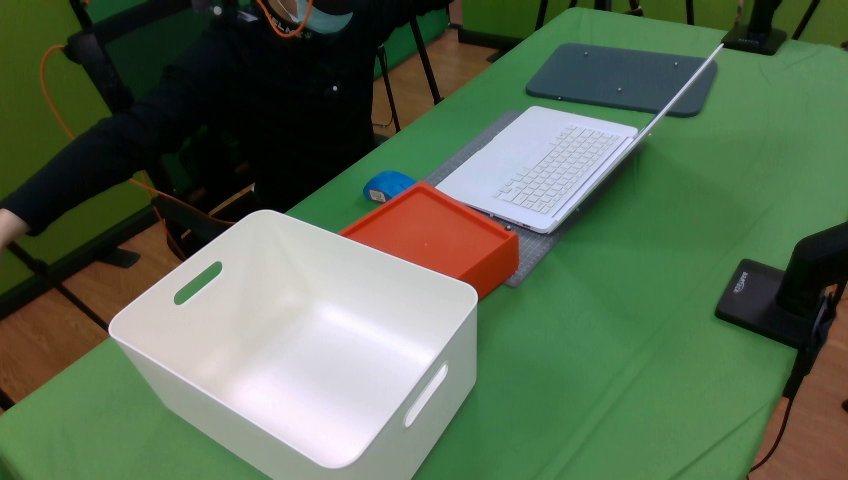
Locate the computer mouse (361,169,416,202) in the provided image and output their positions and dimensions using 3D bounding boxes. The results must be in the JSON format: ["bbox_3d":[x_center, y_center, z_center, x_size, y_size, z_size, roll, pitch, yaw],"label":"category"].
[{"bbox_3d":[-0.053,-0.093,1.073,0.116,0.041,0.063,22,46,29],"label":"computer mouse"}]

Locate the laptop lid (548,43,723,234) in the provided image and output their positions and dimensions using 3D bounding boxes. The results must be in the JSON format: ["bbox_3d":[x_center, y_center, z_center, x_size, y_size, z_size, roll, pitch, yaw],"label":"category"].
[{"bbox_3d":[0.336,-0.160,0.956,0.013,0.241,0.358,43,54,8],"label":"laptop lid"}]

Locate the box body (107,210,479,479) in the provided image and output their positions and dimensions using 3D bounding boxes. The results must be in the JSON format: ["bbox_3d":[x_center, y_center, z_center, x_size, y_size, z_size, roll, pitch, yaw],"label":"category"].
[{"bbox_3d":[-0.140,0.136,0.725,0.361,0.161,0.254,19,47,28],"label":"box body"}]

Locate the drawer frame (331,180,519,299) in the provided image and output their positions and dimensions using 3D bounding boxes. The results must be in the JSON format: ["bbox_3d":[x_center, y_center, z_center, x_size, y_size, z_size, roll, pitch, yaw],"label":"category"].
[{"bbox_3d":[-0.003,0.020,0.901,0.202,0.083,0.211,-35,48,-28],"label":"drawer frame"}]

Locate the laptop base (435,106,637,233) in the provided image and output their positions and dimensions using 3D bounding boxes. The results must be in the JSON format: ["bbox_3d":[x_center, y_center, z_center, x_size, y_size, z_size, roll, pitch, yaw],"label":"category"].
[{"bbox_3d":[0.210,-0.142,1.111,0.233,0.023,0.355,21,48,33],"label":"laptop base"}]

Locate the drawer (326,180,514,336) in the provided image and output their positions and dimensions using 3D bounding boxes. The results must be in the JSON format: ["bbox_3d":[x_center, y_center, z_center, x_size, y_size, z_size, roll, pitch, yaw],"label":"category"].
[{"bbox_3d":[-0.004,0.019,0.902,0.195,0.073,0.210,-34,48,-27],"label":"drawer"}]

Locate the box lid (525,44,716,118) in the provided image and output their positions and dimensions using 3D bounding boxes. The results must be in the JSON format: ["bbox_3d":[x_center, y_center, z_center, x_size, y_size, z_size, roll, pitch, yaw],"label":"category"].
[{"bbox_3d":[0.432,-0.360,1.341,0.369,0.015,0.263,16,45,24],"label":"box lid"}]
